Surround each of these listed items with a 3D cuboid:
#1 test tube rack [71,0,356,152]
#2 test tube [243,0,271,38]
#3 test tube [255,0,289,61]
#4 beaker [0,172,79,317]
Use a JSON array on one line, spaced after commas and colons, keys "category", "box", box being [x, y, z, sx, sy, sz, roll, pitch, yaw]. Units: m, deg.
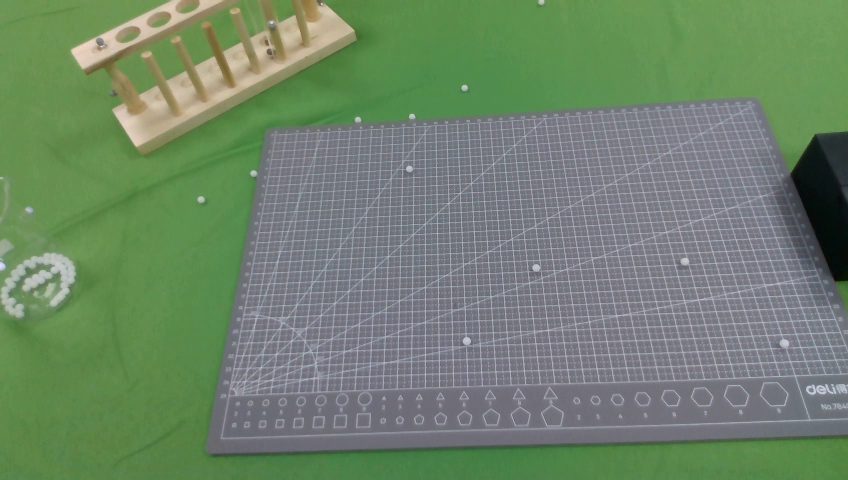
[{"category": "test tube rack", "box": [-0.190, -0.190, 0.581, 0.242, 0.086, 0.066, -34, 61, -15]}, {"category": "test tube", "box": [-0.172, -0.253, 0.560, 0.017, 0.152, 0.017, -4, 54, 6]}, {"category": "test tube", "box": [-0.147, -0.226, 0.547, 0.017, 0.152, 0.017, -2, 56, 3]}, {"category": "beaker", "box": [-0.320, 0.006, 0.461, 0.073, 0.101, 0.083, 21, 61, 17]}]
